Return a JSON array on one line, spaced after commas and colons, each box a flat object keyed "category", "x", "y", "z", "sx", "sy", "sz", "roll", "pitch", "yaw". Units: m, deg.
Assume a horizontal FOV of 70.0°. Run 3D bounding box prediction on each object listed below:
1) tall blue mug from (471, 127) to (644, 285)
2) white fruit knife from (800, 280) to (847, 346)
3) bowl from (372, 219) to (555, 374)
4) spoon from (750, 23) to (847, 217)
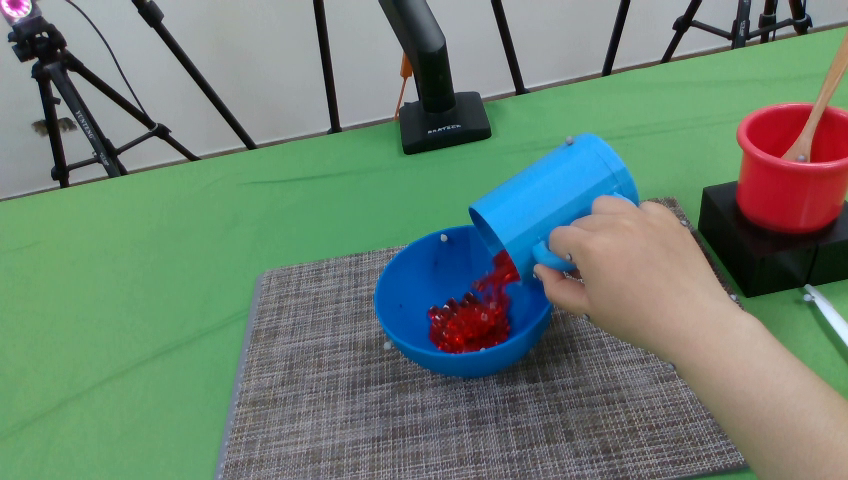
[{"category": "tall blue mug", "x": 0.105, "y": -0.026, "z": 0.461, "sx": 0.108, "sy": 0.078, "sz": 0.107, "roll": -37, "pitch": 7, "yaw": -5}, {"category": "white fruit knife", "x": 0.335, "y": 0.100, "z": 0.445, "sx": 0.027, "sy": 0.016, "sz": 0.205, "roll": 10, "pitch": 36, "yaw": -13}, {"category": "bowl", "x": 0.037, "y": 0.061, "z": 0.515, "sx": 0.151, "sy": 0.077, "sz": 0.150, "roll": -8, "pitch": 41, "yaw": 7}, {"category": "spoon", "x": 0.328, "y": -0.108, "z": 0.506, "sx": 0.041, "sy": 0.022, "sz": 0.194, "roll": 27, "pitch": 99, "yaw": 39}]
